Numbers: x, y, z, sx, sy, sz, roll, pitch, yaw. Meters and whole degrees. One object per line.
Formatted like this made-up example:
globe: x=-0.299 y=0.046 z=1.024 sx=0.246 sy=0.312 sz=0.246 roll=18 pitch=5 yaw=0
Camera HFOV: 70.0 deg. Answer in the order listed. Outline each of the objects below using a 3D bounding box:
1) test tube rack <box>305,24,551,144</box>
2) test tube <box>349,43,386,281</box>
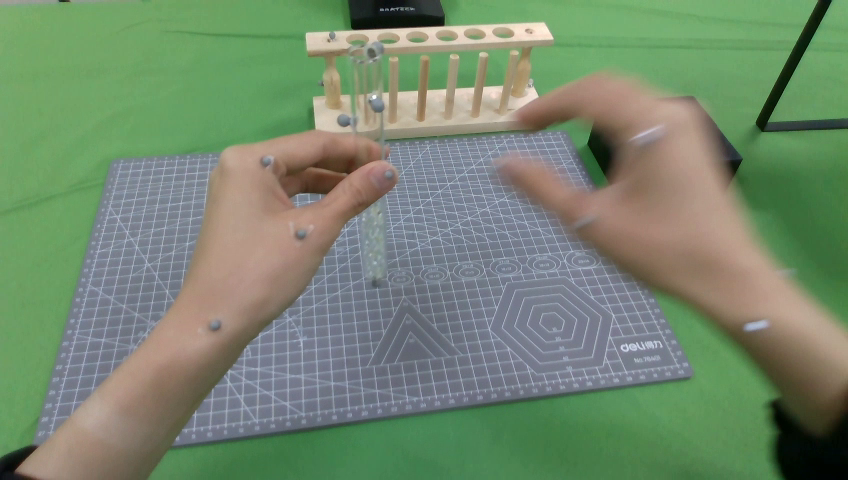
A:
test tube rack: x=0.007 y=-0.160 z=0.618 sx=0.243 sy=0.086 sz=0.066 roll=-6 pitch=47 yaw=-9
test tube: x=-0.028 y=-0.030 z=0.317 sx=0.017 sy=0.151 sz=0.017 roll=2 pitch=46 yaw=-1
